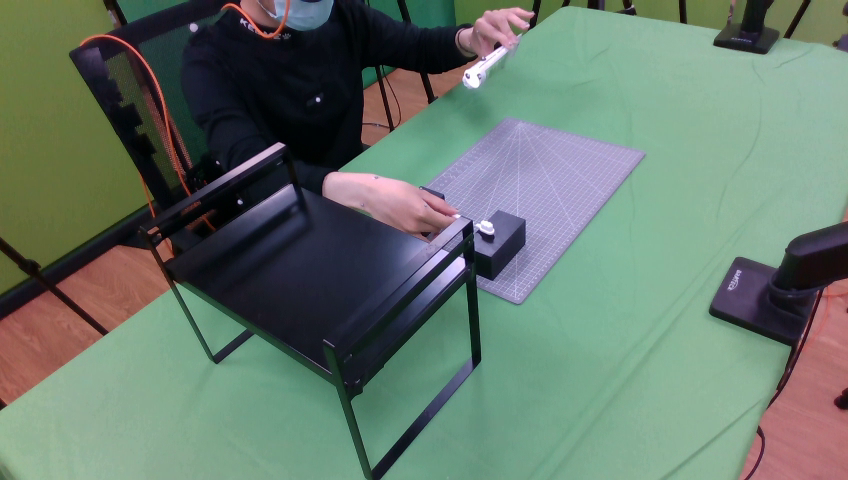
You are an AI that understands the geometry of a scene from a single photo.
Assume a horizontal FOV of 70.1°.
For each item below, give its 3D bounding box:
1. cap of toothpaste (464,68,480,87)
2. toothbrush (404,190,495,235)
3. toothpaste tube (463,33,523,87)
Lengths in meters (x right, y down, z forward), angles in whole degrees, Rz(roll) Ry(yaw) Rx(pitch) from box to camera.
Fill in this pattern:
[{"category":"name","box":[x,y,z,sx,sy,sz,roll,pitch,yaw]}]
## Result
[{"category":"cap of toothpaste","box":[0.081,-0.278,1.037,0.011,0.037,0.037,-27,23,42]},{"category":"toothbrush","box":[0.036,-0.047,0.942,0.180,0.017,0.014,26,56,34]},{"category":"toothpaste tube","box":[0.127,-0.324,1.101,0.034,0.055,0.165,42,57,10]}]
